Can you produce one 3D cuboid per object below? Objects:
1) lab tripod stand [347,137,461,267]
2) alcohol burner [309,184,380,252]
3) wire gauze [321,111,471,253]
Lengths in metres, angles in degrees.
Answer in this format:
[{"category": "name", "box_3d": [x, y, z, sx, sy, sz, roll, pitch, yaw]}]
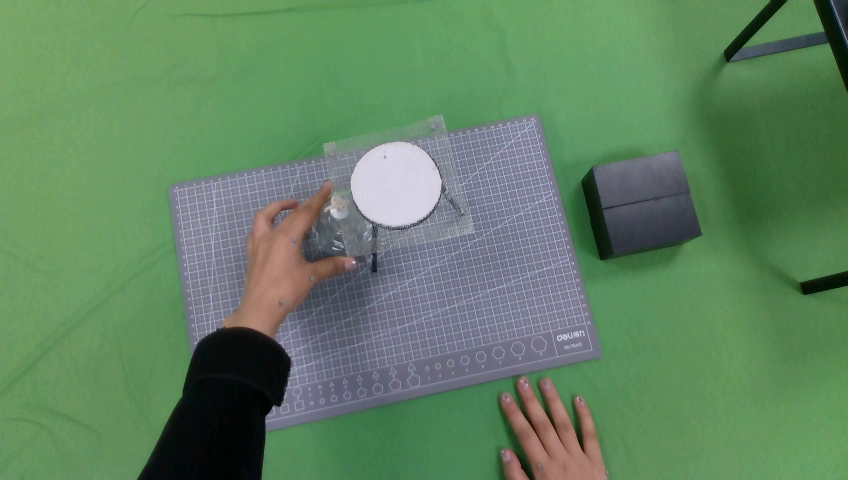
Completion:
[{"category": "lab tripod stand", "box_3d": [-0.033, -0.047, 0.645, 0.148, 0.132, 0.148, 0, 79, 1]}, {"category": "alcohol burner", "box_3d": [-0.087, -0.027, 0.650, 0.078, 0.119, 0.077, 0, 80, 0]}, {"category": "wire gauze", "box_3d": [-0.029, -0.056, 0.578, 0.125, 0.011, 0.121, -12, 79, -2]}]
